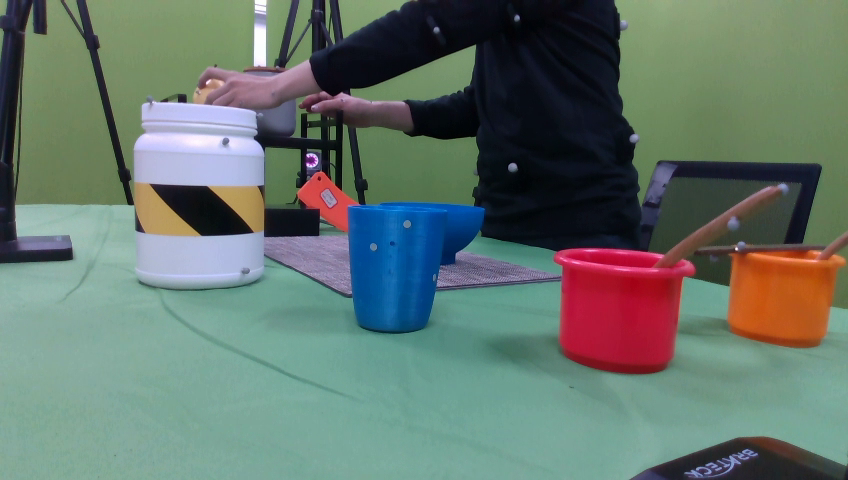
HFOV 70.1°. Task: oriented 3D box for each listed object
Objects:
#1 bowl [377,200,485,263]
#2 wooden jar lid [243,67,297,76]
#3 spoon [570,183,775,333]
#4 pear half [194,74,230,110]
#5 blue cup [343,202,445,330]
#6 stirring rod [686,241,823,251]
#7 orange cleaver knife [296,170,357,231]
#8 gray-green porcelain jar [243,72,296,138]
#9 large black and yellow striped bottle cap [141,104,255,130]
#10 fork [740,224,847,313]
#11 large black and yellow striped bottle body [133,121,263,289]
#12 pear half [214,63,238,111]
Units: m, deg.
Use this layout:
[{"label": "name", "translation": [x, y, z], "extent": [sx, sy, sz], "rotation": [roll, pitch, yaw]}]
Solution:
[{"label": "bowl", "translation": [0.008, -0.012, 0.842], "extent": [0.151, 0.077, 0.151], "rotation": [2, 7, 0]}, {"label": "wooden jar lid", "translation": [-0.319, -0.342, 1.254], "extent": [0.108, 0.020, 0.108], "rotation": [3, 8, 0]}, {"label": "spoon", "translation": [0.160, 0.020, 0.413], "extent": [0.042, 0.021, 0.193], "rotation": [0, -36, -24]}, {"label": "pear half", "translation": [-0.396, -0.265, 1.118], "extent": [0.070, 0.088, 0.031], "rotation": [10, 8, 2]}, {"label": "blue cup", "translation": [-0.027, 0.021, 0.510], "extent": [0.093, 0.100, 0.092], "rotation": [3, 5, 0]}, {"label": "stirring rod", "translation": [0.289, 0.005, 0.525], "extent": [0.177, 0.006, 0.014], "rotation": [-1, 6, -26]}, {"label": "orange cleaver knife", "translation": [-0.150, -0.059, 1.171], "extent": [0.212, 0.077, 0.012], "rotation": [32, -12, -32]}, {"label": "gray-green porcelain jar", "translation": [-0.322, -0.279, 1.263], "extent": [0.106, 0.126, 0.106], "rotation": [3, 8, 0]}, {"label": "large black and yellow striped bottle cap", "translation": [-0.241, -0.131, 0.650], "extent": [0.115, 0.019, 0.115], "rotation": [3, 8, 0]}, {"label": "fork", "translation": [0.323, 0.013, 0.485], "extent": [0.028, 0.018, 0.207], "rotation": [9, -38, -5]}, {"label": "large black and yellow striped bottle body", "translation": [-0.243, -0.048, 0.659], "extent": [0.131, 0.184, 0.130], "rotation": [2, 7, 0]}, {"label": "pear half", "translation": [-0.390, -0.280, 1.151], "extent": [0.076, 0.109, 0.056], "rotation": [10, 10, 3]}]
